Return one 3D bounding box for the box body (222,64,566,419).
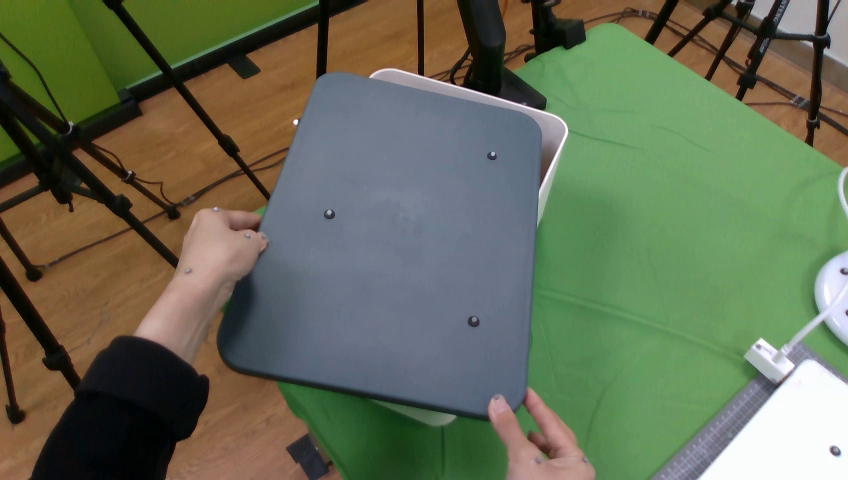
[{"bbox_3d":[-0.015,-0.008,0.705,0.253,0.162,0.362,20,57,13],"label":"box body"}]

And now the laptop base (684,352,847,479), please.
[{"bbox_3d":[0.455,0.297,0.576,0.235,0.023,0.351,-37,62,-19],"label":"laptop base"}]

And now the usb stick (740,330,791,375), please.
[{"bbox_3d":[0.388,0.131,0.678,0.021,0.027,0.058,-29,62,-24],"label":"usb stick"}]

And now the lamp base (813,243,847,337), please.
[{"bbox_3d":[0.557,0.016,0.675,0.160,0.182,0.178,10,52,7],"label":"lamp base"}]

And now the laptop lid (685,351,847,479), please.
[{"bbox_3d":[0.453,0.292,0.566,0.241,0.013,0.353,-35,61,-19],"label":"laptop lid"}]

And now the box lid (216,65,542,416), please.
[{"bbox_3d":[-0.019,-0.028,0.594,0.263,0.015,0.368,12,56,-3],"label":"box lid"}]

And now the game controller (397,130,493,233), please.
[{"bbox_3d":[0.029,-0.076,0.730,0.097,0.052,0.154,13,56,0],"label":"game controller"}]
